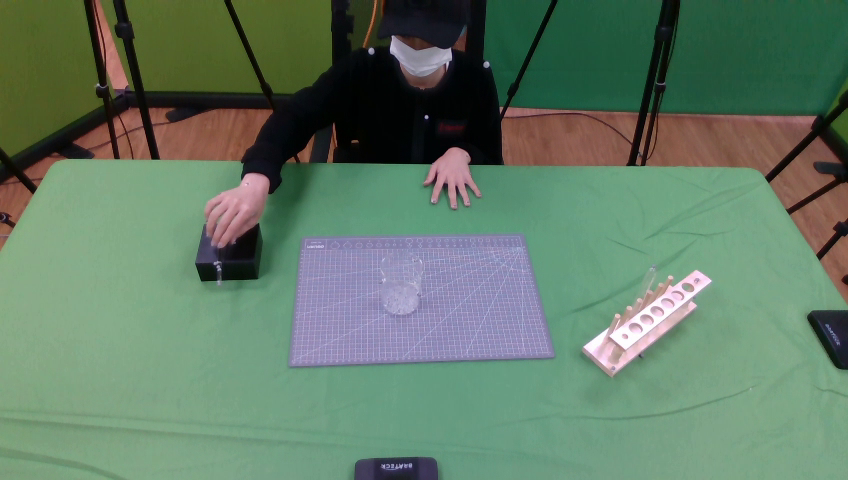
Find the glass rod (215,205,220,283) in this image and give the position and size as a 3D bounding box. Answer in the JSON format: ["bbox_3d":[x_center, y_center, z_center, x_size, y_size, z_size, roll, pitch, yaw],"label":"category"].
[{"bbox_3d":[-0.376,0.003,1.104,0.008,0.008,0.198,-8,47,-12],"label":"glass rod"}]

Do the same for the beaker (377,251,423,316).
[{"bbox_3d":[-0.040,0.081,1.060,0.074,0.101,0.083,-33,57,-30],"label":"beaker"}]

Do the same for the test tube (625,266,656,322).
[{"bbox_3d":[0.366,0.096,1.027,0.017,0.151,0.017,1,47,0],"label":"test tube"}]

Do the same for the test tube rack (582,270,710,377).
[{"bbox_3d":[0.389,0.132,1.057,0.242,0.085,0.066,-28,54,-28],"label":"test tube rack"}]
